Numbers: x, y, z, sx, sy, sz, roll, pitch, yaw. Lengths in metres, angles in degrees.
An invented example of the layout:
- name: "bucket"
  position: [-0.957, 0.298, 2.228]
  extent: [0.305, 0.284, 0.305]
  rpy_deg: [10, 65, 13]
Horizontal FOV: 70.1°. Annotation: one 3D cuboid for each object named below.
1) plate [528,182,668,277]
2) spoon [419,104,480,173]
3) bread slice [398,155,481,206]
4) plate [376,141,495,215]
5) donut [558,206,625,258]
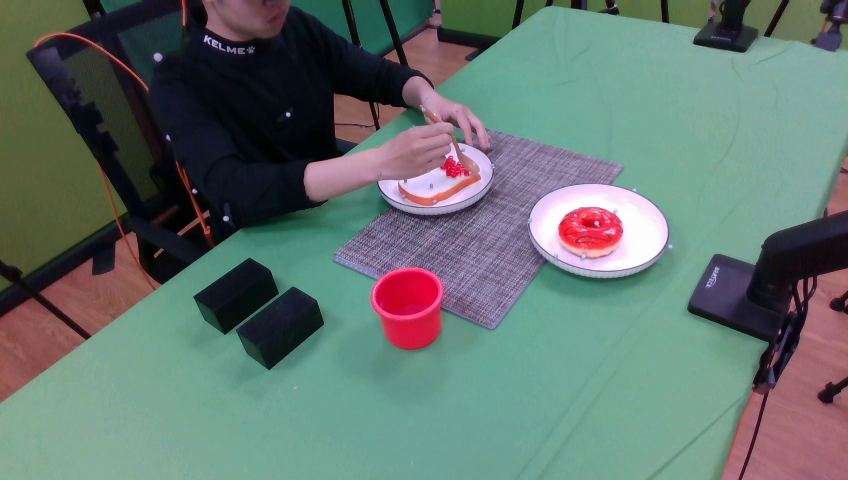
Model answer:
- name: "plate"
  position: [0.264, -0.014, 0.933]
  extent: [0.207, 0.039, 0.206]
  rpy_deg: [-3, 42, 3]
- name: "spoon"
  position: [0.044, -0.166, 0.995]
  extent: [0.021, 0.195, 0.041]
  rpy_deg: [-28, 52, 14]
- name: "bread slice"
  position: [0.021, -0.106, 1.077]
  extent: [0.132, 0.019, 0.104]
  rpy_deg: [-31, 46, -29]
- name: "plate"
  position: [0.022, -0.106, 1.073]
  extent: [0.209, 0.038, 0.208]
  rpy_deg: [-4, 40, 4]
- name: "donut"
  position: [0.254, -0.015, 0.917]
  extent: [0.099, 0.048, 0.098]
  rpy_deg: [-5, 41, 5]
